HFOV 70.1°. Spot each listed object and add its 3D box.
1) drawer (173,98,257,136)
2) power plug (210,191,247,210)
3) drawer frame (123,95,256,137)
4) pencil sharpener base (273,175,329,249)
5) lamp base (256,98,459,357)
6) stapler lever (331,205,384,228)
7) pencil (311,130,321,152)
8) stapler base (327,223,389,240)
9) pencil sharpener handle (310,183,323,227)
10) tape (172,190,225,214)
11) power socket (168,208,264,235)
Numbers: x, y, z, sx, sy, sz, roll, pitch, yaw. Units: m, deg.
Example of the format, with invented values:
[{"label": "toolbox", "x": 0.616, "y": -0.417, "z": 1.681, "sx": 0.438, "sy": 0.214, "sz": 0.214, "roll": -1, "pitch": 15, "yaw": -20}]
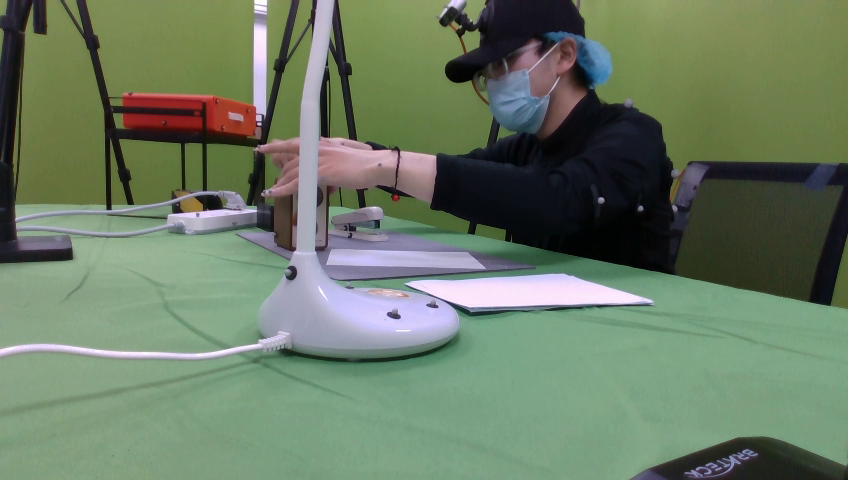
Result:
[{"label": "drawer", "x": -0.518, "y": -0.279, "z": 1.376, "sx": 0.211, "sy": 0.073, "sz": 0.195, "roll": 3, "pitch": 8, "yaw": 10}, {"label": "power plug", "x": -0.386, "y": -0.071, "z": 1.204, "sx": 0.072, "sy": 0.052, "sz": 0.035, "roll": 7, "pitch": 9, "yaw": 25}, {"label": "drawer frame", "x": -0.524, "y": -0.281, "z": 1.376, "sx": 0.213, "sy": 0.082, "sz": 0.202, "roll": 3, "pitch": 8, "yaw": 8}, {"label": "pencil sharpener base", "x": -0.184, "y": -0.042, "z": 0.907, "sx": 0.062, "sy": 0.107, "sz": 0.076, "roll": -2, "pitch": 9, "yaw": -34}, {"label": "lamp base", "x": -0.055, "y": -0.013, "z": 0.463, "sx": 0.160, "sy": 0.180, "sz": 0.180, "roll": 6, "pitch": 11, "yaw": 27}, {"label": "stapler lever", "x": -0.118, "y": -0.044, "z": 1.070, "sx": 0.117, "sy": 0.040, "sz": 0.027, "roll": 7, "pitch": 8, "yaw": 41}, {"label": "pencil", "x": -0.207, "y": -0.126, "z": 1.021, "sx": 0.012, "sy": 0.012, "sz": 0.193, "roll": -3, "pitch": -28, "yaw": -34}, {"label": "stapler base", "x": -0.117, "y": -0.018, "z": 1.073, "sx": 0.130, "sy": 0.024, "sz": 0.041, "roll": 7, "pitch": 8, "yaw": 41}, {"label": "pencil sharpener handle", "x": -0.160, "y": -0.048, "z": 0.861, "sx": 0.036, "sy": 0.067, "sz": 0.030, "roll": 25, "pitch": -6, "yaw": -34}, {"label": "tape", "x": -0.515, "y": -0.087, "z": 1.388, "sx": 0.117, "sy": 0.052, "sz": 0.117, "roll": 3, "pitch": 7, "yaw": 0}, {"label": "power socket", "x": -0.381, "y": -0.038, "z": 1.129, "sx": 0.072, "sy": 0.032, "sz": 0.227, "roll": 4, "pitch": 8, "yaw": 17}]
